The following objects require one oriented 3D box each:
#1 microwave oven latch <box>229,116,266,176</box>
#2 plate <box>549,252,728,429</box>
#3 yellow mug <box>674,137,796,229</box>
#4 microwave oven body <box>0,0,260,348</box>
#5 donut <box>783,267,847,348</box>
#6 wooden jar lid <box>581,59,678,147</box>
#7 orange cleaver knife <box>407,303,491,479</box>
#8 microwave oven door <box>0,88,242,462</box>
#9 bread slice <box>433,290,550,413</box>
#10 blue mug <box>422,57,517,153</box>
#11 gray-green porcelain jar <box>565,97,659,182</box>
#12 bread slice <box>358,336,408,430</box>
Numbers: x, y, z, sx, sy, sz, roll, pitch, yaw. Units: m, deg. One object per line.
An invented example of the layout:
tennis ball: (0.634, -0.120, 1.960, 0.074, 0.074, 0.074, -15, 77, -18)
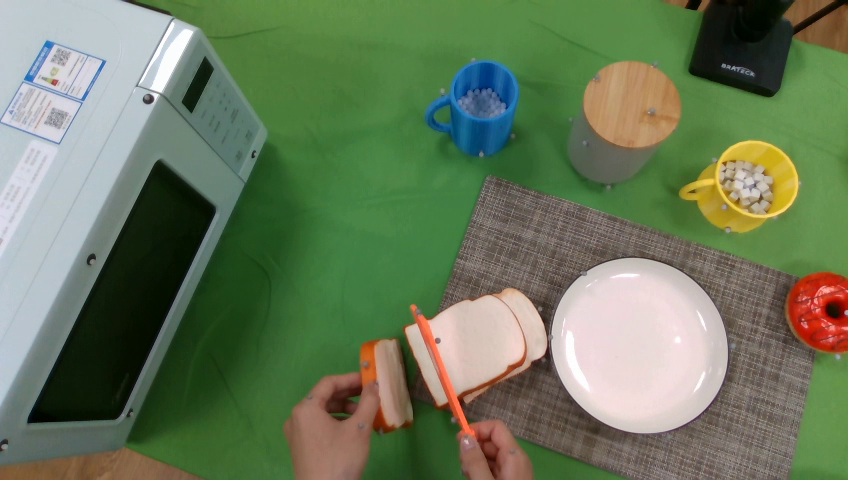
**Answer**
microwave oven latch: (-0.233, -0.125, 0.786, 0.030, 0.029, 0.079, 22, 78, 7)
plate: (0.252, 0.118, 0.727, 0.207, 0.039, 0.206, 0, 76, 2)
yellow mug: (0.382, -0.069, 0.759, 0.131, 0.064, 0.099, -4, 76, 2)
microwave oven body: (-0.437, -0.037, 0.671, 0.325, 0.261, 0.440, 19, 78, 6)
donut: (0.482, 0.081, 0.726, 0.099, 0.048, 0.098, 0, 77, 2)
wooden jar lid: (0.231, -0.153, 0.689, 0.108, 0.021, 0.108, 0, 74, 2)
orange cleaver knife: (0.027, 0.163, 0.624, 0.012, 0.077, 0.211, -22, 92, -10)
microwave oven door: (-0.317, 0.048, 0.641, 0.039, 0.245, 0.354, 19, 77, 7)
bread slice: (0.088, 0.127, 0.729, 0.131, 0.019, 0.104, -36, 85, -9)
blue mug: (0.055, -0.167, 0.772, 0.116, 0.106, 0.082, -6, 75, 1)
gray-green porcelain jar: (0.234, -0.137, 0.749, 0.106, 0.127, 0.105, 0, 76, 2)
bread slice: (-0.046, 0.157, 0.681, 0.018, 0.135, 0.106, -14, 75, 6)
